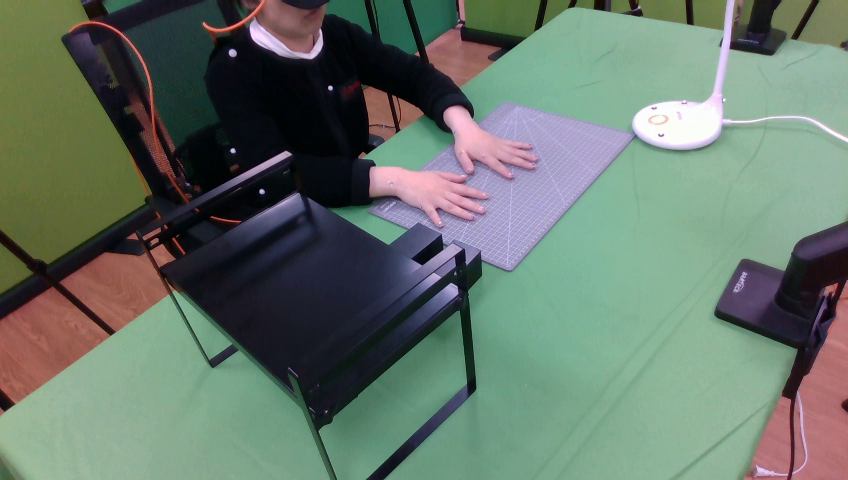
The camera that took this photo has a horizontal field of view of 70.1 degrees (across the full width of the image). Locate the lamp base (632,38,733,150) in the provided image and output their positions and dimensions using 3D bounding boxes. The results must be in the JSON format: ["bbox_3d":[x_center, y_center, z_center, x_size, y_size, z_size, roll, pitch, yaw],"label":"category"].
[{"bbox_3d":[0.486,-0.280,1.108,0.179,0.181,0.159,-5,41,-1],"label":"lamp base"}]
